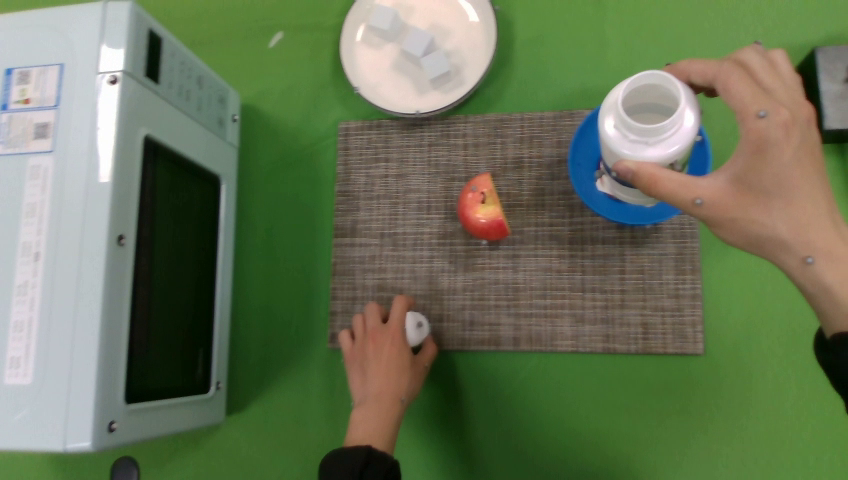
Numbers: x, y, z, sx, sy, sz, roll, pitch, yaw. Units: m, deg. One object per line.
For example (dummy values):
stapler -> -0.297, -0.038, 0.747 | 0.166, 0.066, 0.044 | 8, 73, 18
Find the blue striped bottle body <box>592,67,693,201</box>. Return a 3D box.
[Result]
blue striped bottle body -> 0.151, -0.074, 0.424 | 0.063, 0.122, 0.062 | -4, 75, 16

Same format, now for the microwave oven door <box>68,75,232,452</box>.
microwave oven door -> -0.288, 0.033, 0.672 | 0.039, 0.245, 0.354 | -3, 81, 10

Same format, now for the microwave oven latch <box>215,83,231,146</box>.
microwave oven latch -> -0.273, -0.166, 0.805 | 0.030, 0.029, 0.079 | -3, 81, 9

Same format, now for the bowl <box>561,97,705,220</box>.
bowl -> 0.233, -0.090, 0.700 | 0.151, 0.077, 0.151 | -2, 81, 10

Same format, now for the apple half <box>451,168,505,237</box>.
apple half -> 0.061, -0.039, 0.725 | 0.053, 0.075, 0.080 | -21, 82, 10

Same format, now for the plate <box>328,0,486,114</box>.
plate -> -0.021, -0.261, 0.796 | 0.207, 0.039, 0.207 | -1, 81, 9

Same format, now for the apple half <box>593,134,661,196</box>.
apple half -> 0.234, -0.089, 0.695 | 0.081, 0.033, 0.081 | -2, 79, 10

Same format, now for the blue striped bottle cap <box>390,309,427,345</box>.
blue striped bottle cap -> -0.020, 0.107, 0.746 | 0.044, 0.021, 0.044 | -1, 81, 7

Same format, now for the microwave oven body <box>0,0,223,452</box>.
microwave oven body -> -0.432, 0.000, 0.707 | 0.325, 0.261, 0.440 | -3, 81, 9
